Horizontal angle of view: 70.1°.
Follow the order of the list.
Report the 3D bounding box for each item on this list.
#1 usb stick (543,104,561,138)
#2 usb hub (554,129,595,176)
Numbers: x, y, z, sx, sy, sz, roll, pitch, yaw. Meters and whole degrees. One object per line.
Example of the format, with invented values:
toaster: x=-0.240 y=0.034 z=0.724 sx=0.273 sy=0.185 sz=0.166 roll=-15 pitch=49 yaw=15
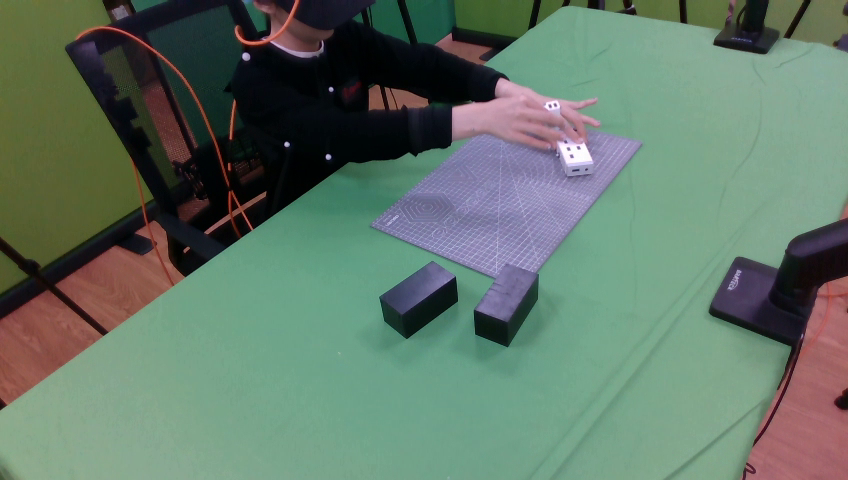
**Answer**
usb stick: x=0.213 y=-0.196 z=1.007 sx=0.027 sy=0.059 sz=0.021 roll=-9 pitch=49 yaw=-2
usb hub: x=0.278 y=-0.164 z=1.119 sx=0.049 sy=0.025 sz=0.124 roll=-5 pitch=40 yaw=1
